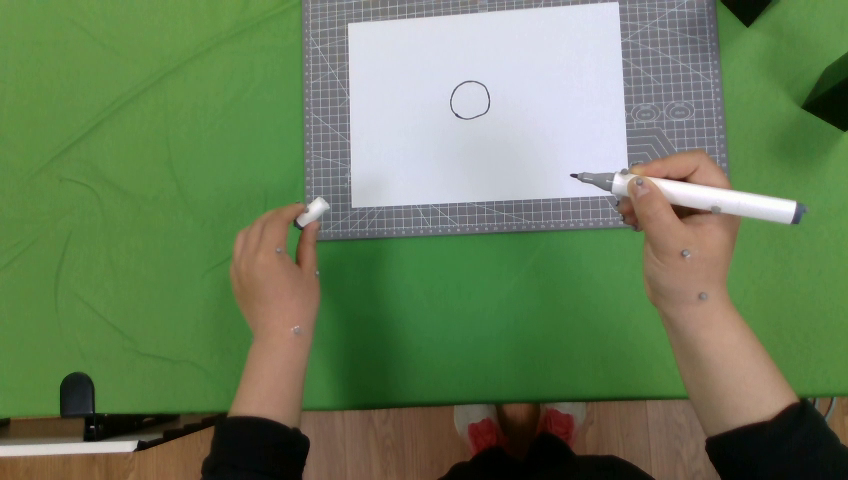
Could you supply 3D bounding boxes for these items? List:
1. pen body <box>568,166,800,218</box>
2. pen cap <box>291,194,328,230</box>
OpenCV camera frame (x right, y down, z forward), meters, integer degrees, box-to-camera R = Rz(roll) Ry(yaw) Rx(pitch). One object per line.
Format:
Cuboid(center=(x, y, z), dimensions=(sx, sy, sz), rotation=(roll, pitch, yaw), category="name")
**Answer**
Cuboid(center=(0.167, -0.035, 0.403), dimensions=(0.143, 0.017, 0.017), rotation=(13, 86, 22), category="pen body")
Cuboid(center=(-0.112, -0.026, 0.593), dimensions=(0.038, 0.017, 0.017), rotation=(-40, 82, 10), category="pen cap")
